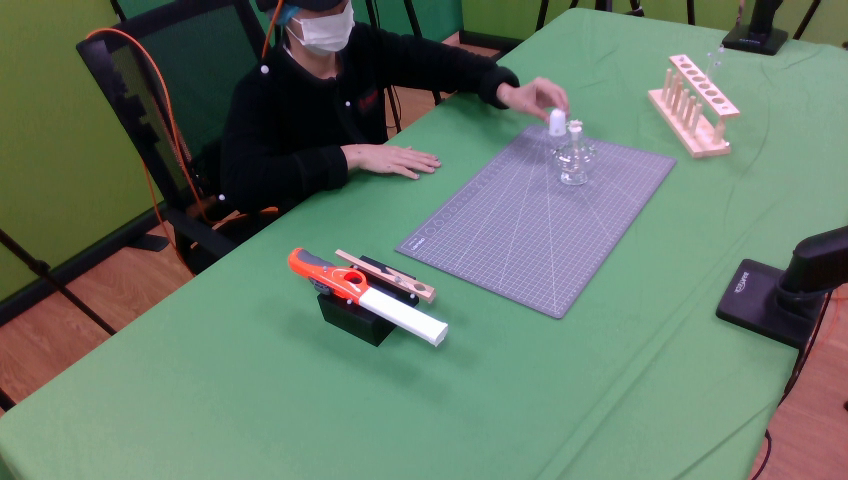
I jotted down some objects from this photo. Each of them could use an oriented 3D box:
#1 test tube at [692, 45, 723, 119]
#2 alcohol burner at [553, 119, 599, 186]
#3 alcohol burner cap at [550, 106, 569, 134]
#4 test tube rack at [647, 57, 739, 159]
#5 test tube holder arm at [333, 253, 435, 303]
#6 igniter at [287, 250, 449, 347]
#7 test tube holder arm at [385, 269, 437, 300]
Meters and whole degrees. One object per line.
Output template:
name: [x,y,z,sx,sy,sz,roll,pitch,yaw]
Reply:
test tube: [0.517,-0.285,1.106,0.017,0.151,0.017,-2,46,2]
alcohol burner: [0.261,-0.153,1.042,0.078,0.119,0.077,-6,40,6]
alcohol burner cap: [0.243,-0.217,1.088,0.034,0.048,0.033,-7,32,5]
test tube rack: [0.504,-0.257,1.153,0.067,0.085,0.241,-7,40,1]
test tube holder arm: [-0.060,0.052,0.853,0.177,0.015,0.013,19,51,28]
igniter: [-0.087,0.073,0.825,0.274,0.025,0.057,23,48,27]
test tube holder arm: [-0.020,0.061,0.834,0.087,0.015,0.010,20,51,29]
